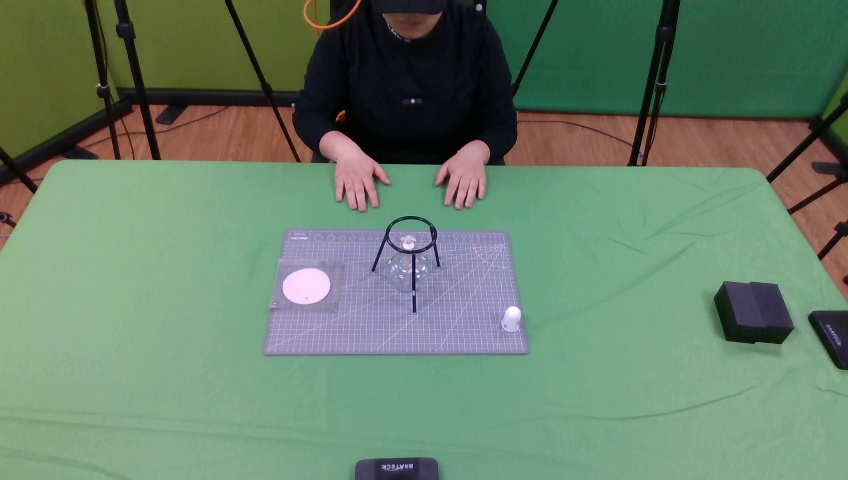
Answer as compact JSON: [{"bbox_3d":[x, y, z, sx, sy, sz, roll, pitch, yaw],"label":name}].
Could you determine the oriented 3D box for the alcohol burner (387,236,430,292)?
[{"bbox_3d":[-0.028,0.038,1.093,0.078,0.120,0.077,1,46,-1],"label":"alcohol burner"}]

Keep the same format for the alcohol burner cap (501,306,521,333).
[{"bbox_3d":[0.155,0.137,1.061,0.034,0.048,0.033,1,45,-1],"label":"alcohol burner cap"}]

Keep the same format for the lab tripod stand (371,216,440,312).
[{"bbox_3d":[-0.029,0.033,1.084,0.148,0.132,0.147,1,47,-1],"label":"lab tripod stand"}]

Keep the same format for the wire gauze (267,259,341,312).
[{"bbox_3d":[-0.218,0.081,1.110,0.125,0.011,0.120,1,45,0],"label":"wire gauze"}]
